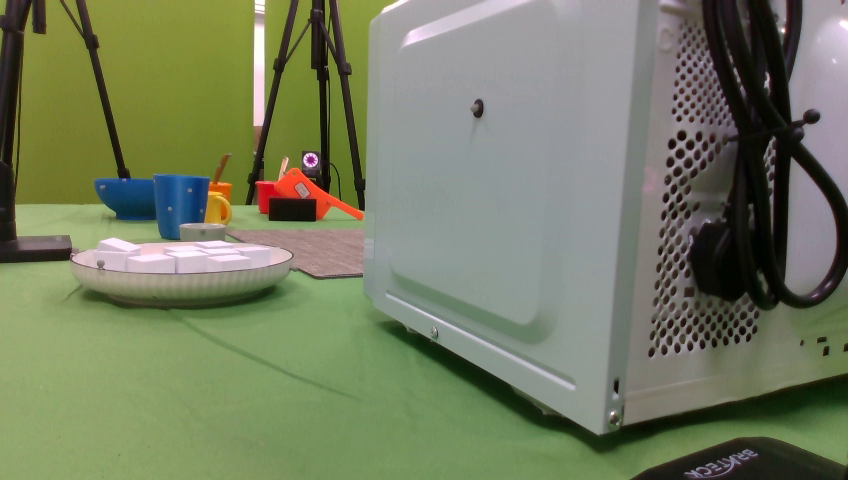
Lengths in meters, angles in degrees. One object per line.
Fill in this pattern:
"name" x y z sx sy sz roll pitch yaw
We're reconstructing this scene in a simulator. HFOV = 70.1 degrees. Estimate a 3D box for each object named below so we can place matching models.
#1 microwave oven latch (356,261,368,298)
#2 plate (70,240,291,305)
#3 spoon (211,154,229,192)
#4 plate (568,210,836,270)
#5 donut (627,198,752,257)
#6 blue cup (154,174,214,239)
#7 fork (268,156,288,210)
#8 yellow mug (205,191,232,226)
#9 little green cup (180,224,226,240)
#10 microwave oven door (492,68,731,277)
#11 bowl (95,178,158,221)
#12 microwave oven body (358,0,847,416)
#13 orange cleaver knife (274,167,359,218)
"microwave oven latch" -0.019 0.033 0.529 0.079 0.029 0.030 0 7 -25
"plate" -0.242 0.031 0.618 0.208 0.039 0.207 2 8 0
"spoon" -0.431 -0.115 1.253 0.042 0.193 0.021 -3 54 -33
"plate" 0.229 -0.003 0.520 0.209 0.038 0.209 3 5 0
"donut" 0.225 -0.010 0.518 0.099 0.048 0.099 3 7 0
"blue cup" -0.391 -0.053 0.978 0.093 0.100 0.092 3 6 0
"fork" -0.360 -0.144 1.508 0.028 0.018 0.207 1 49 0
"yellow mug" -0.415 -0.057 1.131 0.130 0.064 0.100 6 8 16
"little green cup" -0.309 -0.001 0.846 0.061 0.038 0.061 2 8 0
"microwave oven door" 0.232 -0.097 0.836 0.039 0.243 0.354 -3 9 -36
"bowl" -0.576 -0.081 1.217 0.151 0.077 0.151 3 8 0
"microwave oven body" 0.211 -0.047 0.474 0.444 0.260 0.324 -1 7 -28
"orange cleaver knife" -0.238 -0.091 1.381 0.212 0.077 0.012 31 0 -19
